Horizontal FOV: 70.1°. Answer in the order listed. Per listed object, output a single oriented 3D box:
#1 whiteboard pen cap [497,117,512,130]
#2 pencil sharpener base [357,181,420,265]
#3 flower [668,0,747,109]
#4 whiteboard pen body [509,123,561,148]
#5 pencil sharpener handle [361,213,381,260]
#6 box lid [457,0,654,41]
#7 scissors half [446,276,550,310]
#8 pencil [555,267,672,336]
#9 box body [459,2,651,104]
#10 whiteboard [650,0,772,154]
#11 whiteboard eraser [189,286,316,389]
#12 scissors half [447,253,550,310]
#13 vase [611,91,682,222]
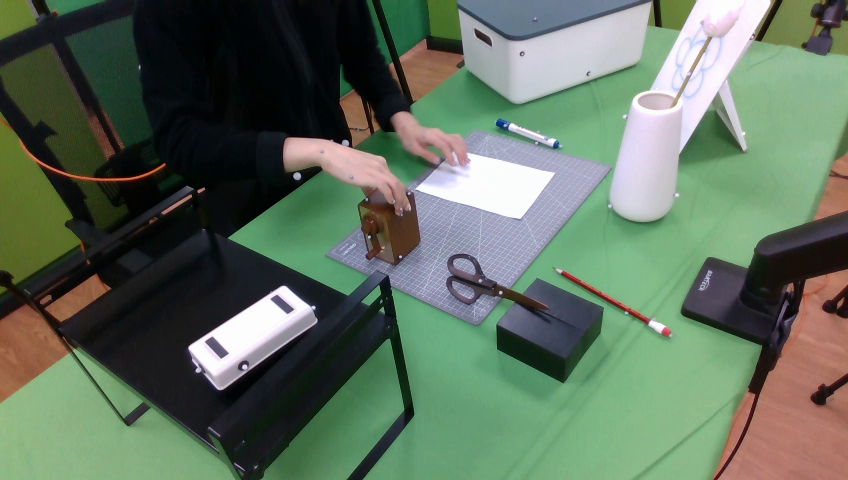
[{"bbox_3d":[0.165,-0.235,1.227,0.033,0.018,0.018,31,53,31],"label":"whiteboard pen cap"},{"bbox_3d":[-0.055,-0.024,0.941,0.061,0.107,0.077,21,48,29],"label":"pencil sharpener base"},{"bbox_3d":[0.355,-0.187,0.879,0.038,0.362,0.044,30,48,14],"label":"flower"},{"bbox_3d":[0.209,-0.212,1.196,0.139,0.017,0.017,30,52,33],"label":"whiteboard pen body"},{"bbox_3d":[-0.083,-0.004,0.902,0.035,0.068,0.031,14,44,36],"label":"pencil sharpener handle"},{"bbox_3d":[0.285,-0.522,1.323,0.373,0.015,0.261,-22,43,-16],"label":"box lid"},{"bbox_3d":[0.098,0.077,0.827,0.174,0.040,0.013,6,14,44],"label":"scissors half"},{"bbox_3d":[0.260,0.082,0.851,0.012,0.012,0.192,-33,46,-27],"label":"pencil"},{"bbox_3d":[0.291,-0.465,1.371,0.365,0.161,0.252,-22,42,-16],"label":"box body"},{"bbox_3d":[0.543,-0.298,1.076,0.144,0.305,0.216,12,40,-7],"label":"whiteboard"},{"bbox_3d":[-0.166,0.096,0.593,0.113,0.042,0.055,-36,47,-29],"label":"whiteboard eraser"},{"bbox_3d":[0.098,0.058,0.821,0.173,0.040,0.013,27,33,37],"label":"scissors half"},{"bbox_3d":[0.348,-0.125,0.935,0.098,0.201,0.097,-3,40,3],"label":"vase"}]
